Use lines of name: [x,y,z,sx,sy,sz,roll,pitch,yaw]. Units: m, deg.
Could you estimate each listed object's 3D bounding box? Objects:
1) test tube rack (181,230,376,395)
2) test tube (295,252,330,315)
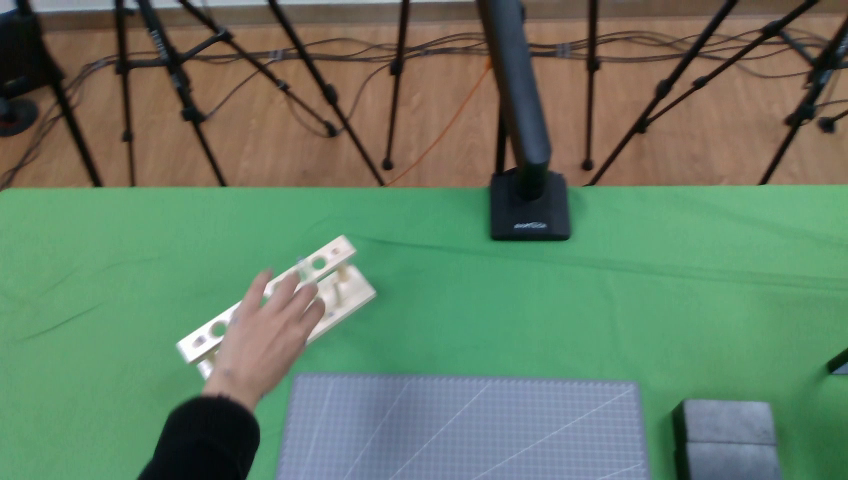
test tube rack: [-0.185,0.095,0.807,0.242,0.086,0.066,-35,63,-17]
test tube: [-0.141,0.058,0.774,0.017,0.151,0.017,-2,58,3]
